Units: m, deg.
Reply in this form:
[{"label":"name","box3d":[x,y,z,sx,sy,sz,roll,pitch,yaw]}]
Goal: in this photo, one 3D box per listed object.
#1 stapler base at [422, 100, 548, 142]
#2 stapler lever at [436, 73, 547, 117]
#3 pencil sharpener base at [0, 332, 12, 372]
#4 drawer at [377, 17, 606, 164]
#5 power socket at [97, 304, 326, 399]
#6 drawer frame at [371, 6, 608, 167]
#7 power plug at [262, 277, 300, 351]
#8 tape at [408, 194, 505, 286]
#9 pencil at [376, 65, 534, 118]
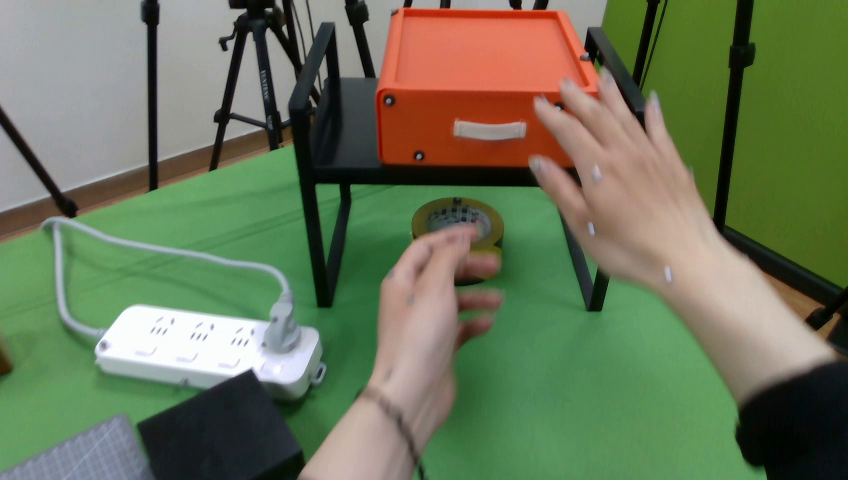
[{"label":"stapler base","box3d":[0.063,-0.121,0.597,0.131,0.024,0.041,-10,43,-25]},{"label":"stapler lever","box3d":[0.067,-0.141,0.583,0.118,0.040,0.026,-11,44,-25]},{"label":"pencil sharpener base","box3d":[-0.448,0.086,0.559,0.077,0.108,0.061,-28,47,-30]},{"label":"drawer","box3d":[0.058,-0.158,0.606,0.194,0.074,0.209,0,38,0]},{"label":"power socket","box3d":[-0.209,0.107,0.596,0.226,0.033,0.071,6,38,8]},{"label":"drawer frame","box3d":[0.056,-0.160,0.607,0.202,0.083,0.211,0,38,0]},{"label":"power plug","box3d":[-0.131,0.079,0.595,0.035,0.053,0.072,13,41,15]},{"label":"tape","box3d":[0.039,-0.002,0.722,0.117,0.053,0.115,1,40,0]},{"label":"pencil","box3d":[0.036,-0.158,0.645,0.194,0.012,0.012,-22,43,-20]}]
